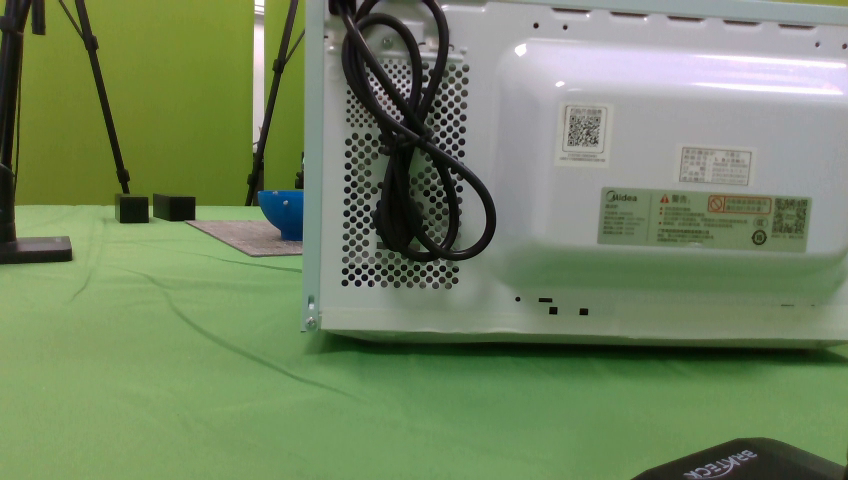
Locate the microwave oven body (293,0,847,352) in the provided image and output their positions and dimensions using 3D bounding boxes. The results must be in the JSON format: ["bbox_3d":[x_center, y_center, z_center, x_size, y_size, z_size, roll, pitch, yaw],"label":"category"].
[{"bbox_3d":[0.122,-0.055,0.550,0.442,0.260,0.325,3,7,-5],"label":"microwave oven body"}]

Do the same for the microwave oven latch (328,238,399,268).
[{"bbox_3d":[-0.069,0.015,0.694,0.079,0.029,0.030,3,7,-3],"label":"microwave oven latch"}]

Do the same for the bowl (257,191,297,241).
[{"bbox_3d":[-0.206,-0.041,1.027,0.151,0.077,0.151,3,8,0],"label":"bowl"}]

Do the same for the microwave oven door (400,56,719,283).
[{"bbox_3d":[0.155,-0.077,0.697,0.356,0.243,0.039,2,8,-5],"label":"microwave oven door"}]
